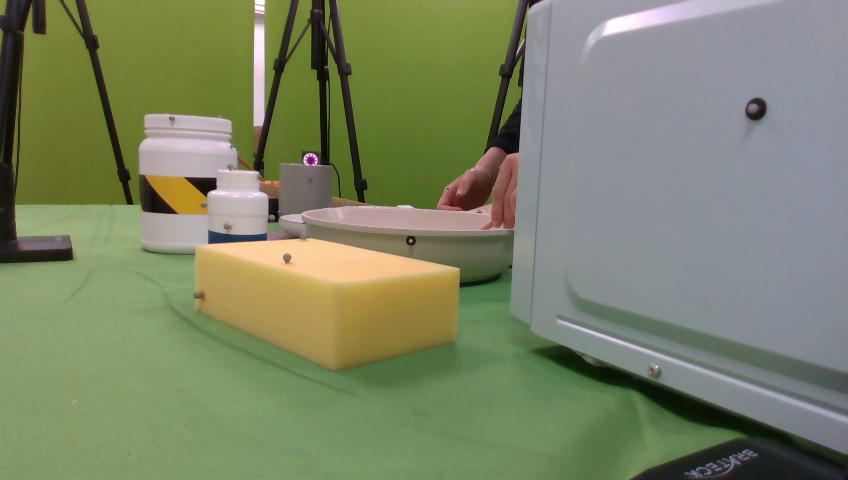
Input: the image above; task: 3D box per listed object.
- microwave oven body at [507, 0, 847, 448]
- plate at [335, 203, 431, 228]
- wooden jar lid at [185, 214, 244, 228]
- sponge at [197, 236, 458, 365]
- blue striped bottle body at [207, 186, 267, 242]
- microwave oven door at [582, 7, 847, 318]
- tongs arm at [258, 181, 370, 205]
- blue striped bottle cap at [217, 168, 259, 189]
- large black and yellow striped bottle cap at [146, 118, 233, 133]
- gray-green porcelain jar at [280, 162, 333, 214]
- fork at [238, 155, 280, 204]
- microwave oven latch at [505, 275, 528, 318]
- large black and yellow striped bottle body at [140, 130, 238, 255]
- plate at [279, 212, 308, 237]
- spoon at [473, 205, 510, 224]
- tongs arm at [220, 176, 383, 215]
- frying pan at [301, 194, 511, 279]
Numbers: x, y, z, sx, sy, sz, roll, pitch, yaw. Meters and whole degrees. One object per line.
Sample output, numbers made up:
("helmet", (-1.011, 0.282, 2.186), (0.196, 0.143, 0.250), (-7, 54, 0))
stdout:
("microwave oven body", (0.331, -0.042, 0.425), (0.444, 0.260, 0.324), (-2, 8, -31))
("plate", (-0.089, -0.053, 1.309), (0.208, 0.039, 0.207), (2, 8, 0))
("wooden jar lid", (-0.404, -0.037, 1.169), (0.108, 0.020, 0.108), (3, 7, 0))
("sponge", (-0.087, 0.039, 0.500), (0.206, 0.061, 0.119), (8, 9, 44))
("blue striped bottle body", (-0.204, -0.016, 0.663), (0.063, 0.120, 0.063), (2, 7, 0))
("microwave oven door", (0.295, -0.067, 0.569), (0.358, 0.243, 0.039), (-3, 8, -31))
("tongs arm", (-0.241, -0.095, 1.373), (0.387, 0.026, 0.050), (9, -1, -37))
("blue striped bottle cap", (-0.202, -0.067, 0.656), (0.044, 0.020, 0.044), (0, 10, 0))
("large black and yellow striped bottle cap", (-0.333, -0.163, 0.861), (0.115, 0.019, 0.115), (1, 9, 0))
("gray-green porcelain jar", (-0.238, -0.092, 1.221), (0.106, 0.126, 0.106), (2, 7, 0))
("fork", (-0.396, -0.143, 1.486), (0.028, 0.018, 0.208), (20, -26, 45))
("microwave oven latch", (0.100, 0.042, 0.472), (0.079, 0.029, 0.030), (-2, 8, -30))
("large black and yellow striped bottle body", (-0.336, -0.078, 0.871), (0.131, 0.184, 0.130), (2, 8, 0))
("plate", (-0.139, -0.022, 1.021), (0.209, 0.038, 0.209), (2, 8, 0))
("spoon", (0.100, -0.032, 0.793), (0.194, 0.022, 0.041), (-26, 34, 4))
("tongs arm", (-0.285, -0.103, 1.445), (0.389, 0.027, 0.028), (9, -4, -23))
("frying pan", (0.050, -0.028, 0.864), (0.305, 0.102, 0.490), (8, 18, 35))
